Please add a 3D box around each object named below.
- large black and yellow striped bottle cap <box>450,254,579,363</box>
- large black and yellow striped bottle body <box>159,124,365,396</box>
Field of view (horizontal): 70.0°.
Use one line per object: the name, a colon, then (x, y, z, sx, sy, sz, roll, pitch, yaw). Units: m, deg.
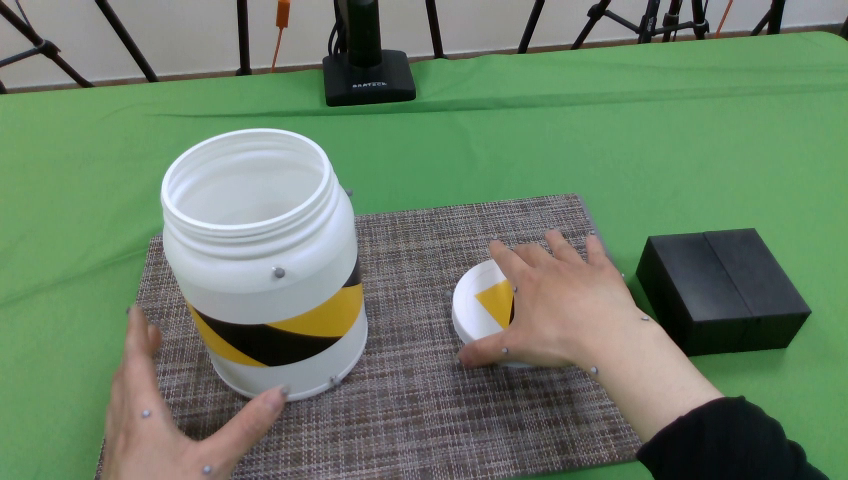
large black and yellow striped bottle cap: (0.080, 0.058, 0.541, 0.115, 0.019, 0.114, 0, 43, 0)
large black and yellow striped bottle body: (-0.116, 0.018, 0.460, 0.131, 0.185, 0.129, 0, 45, 0)
